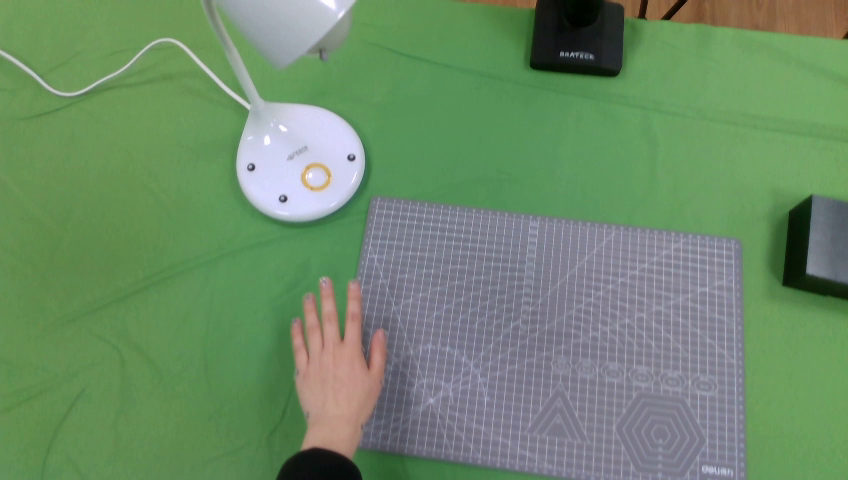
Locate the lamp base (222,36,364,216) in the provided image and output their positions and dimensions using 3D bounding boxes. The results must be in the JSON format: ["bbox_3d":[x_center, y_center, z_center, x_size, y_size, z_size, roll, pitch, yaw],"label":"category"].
[{"bbox_3d":[-0.168,-0.137,0.693,0.178,0.181,0.160,40,77,17],"label":"lamp base"}]

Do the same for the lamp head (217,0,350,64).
[{"bbox_3d":[-0.112,-0.203,0.417,0.124,0.111,0.112,39,73,-26],"label":"lamp head"}]
